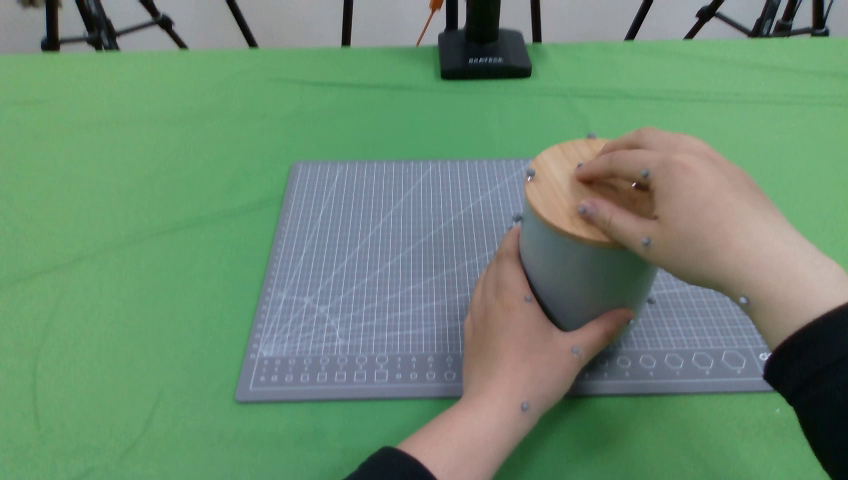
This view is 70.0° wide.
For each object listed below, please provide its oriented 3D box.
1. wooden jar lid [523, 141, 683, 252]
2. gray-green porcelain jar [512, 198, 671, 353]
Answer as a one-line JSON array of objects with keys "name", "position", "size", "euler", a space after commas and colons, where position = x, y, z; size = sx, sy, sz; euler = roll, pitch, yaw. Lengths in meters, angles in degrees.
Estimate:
[{"name": "wooden jar lid", "position": [0.123, -0.029, 0.425], "size": [0.108, 0.021, 0.107], "euler": [-1, 46, 2]}, {"name": "gray-green porcelain jar", "position": [0.124, 0.017, 0.468], "size": [0.106, 0.127, 0.105], "euler": [0, 44, 1]}]
